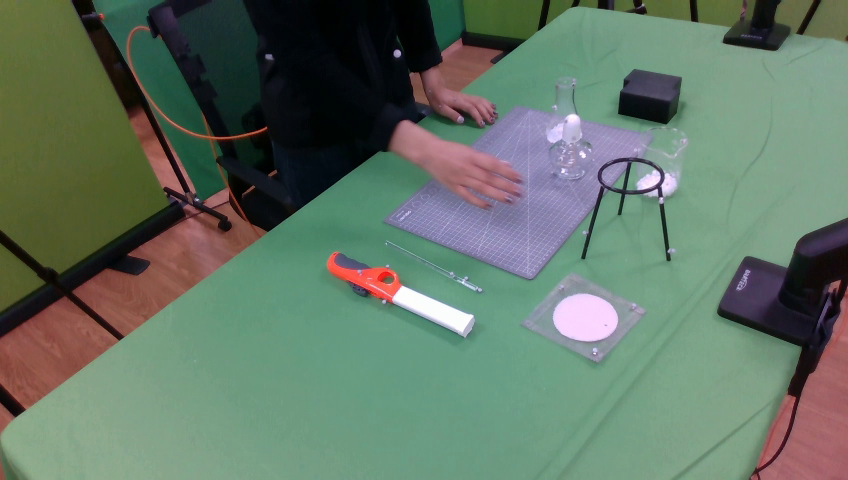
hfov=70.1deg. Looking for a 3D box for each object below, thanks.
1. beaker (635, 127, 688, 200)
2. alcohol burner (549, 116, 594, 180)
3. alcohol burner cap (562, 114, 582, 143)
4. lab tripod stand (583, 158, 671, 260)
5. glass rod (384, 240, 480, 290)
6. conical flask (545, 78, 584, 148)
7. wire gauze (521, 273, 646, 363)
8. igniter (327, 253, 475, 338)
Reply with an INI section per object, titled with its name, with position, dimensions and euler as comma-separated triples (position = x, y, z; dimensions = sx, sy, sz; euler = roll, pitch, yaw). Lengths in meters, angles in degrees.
[beaker]
position = 0.388, -0.122, 0.994
dimensions = 0.074, 0.101, 0.083
euler = -8, 40, 2
[alcohol burner]
position = 0.258, -0.166, 1.055
dimensions = 0.078, 0.120, 0.077
euler = -6, 42, 6
[alcohol burner cap]
position = 0.254, -0.192, 1.030
dimensions = 0.034, 0.048, 0.033
euler = -4, 50, 6
[lab tripod stand]
position = 0.300, -0.046, 0.895
dimensions = 0.148, 0.132, 0.147
euler = -7, 38, 6
[glass rod]
position = 0.009, 0.037, 0.950
dimensions = 0.198, 0.008, 0.008
euler = 26, 52, 34
[conical flask]
position = 0.264, -0.241, 1.135
dimensions = 0.075, 0.122, 0.075
euler = -6, 40, 5
[wire gauze]
position = 0.219, 0.105, 0.830
dimensions = 0.120, 0.011, 0.125
euler = 28, 54, 37
[igniter]
position = -0.045, 0.077, 0.898
dimensions = 0.274, 0.025, 0.057
euler = 22, 60, 32
